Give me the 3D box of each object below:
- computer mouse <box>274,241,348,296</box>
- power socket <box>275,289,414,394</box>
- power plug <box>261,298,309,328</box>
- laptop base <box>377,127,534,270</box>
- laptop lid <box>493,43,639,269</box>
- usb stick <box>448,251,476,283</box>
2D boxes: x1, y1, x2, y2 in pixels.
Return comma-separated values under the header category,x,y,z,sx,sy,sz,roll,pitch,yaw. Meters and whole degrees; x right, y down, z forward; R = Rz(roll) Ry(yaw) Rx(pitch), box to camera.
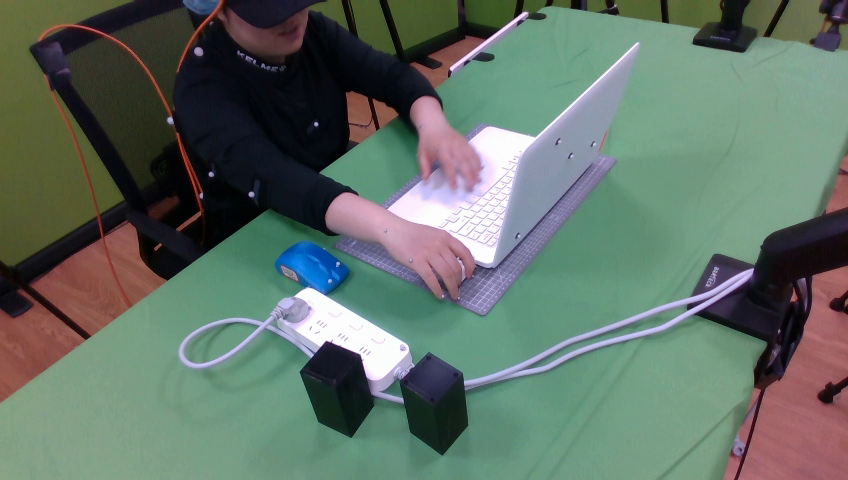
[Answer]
category,x,y,z,sx,sy,sz,roll,pitch,yaw
computer mouse,-0.176,0.040,0.935,0.116,0.041,0.063,27,49,27
power socket,-0.114,0.133,0.820,0.225,0.033,0.072,25,49,32
power plug,-0.192,0.107,0.831,0.073,0.053,0.035,-33,43,-25
laptop base,0.116,-0.088,1.060,0.233,0.023,0.355,21,48,33
laptop lid,0.217,-0.129,0.912,0.013,0.242,0.358,32,51,21
usb stick,0.061,0.036,0.900,0.021,0.027,0.059,23,44,30
